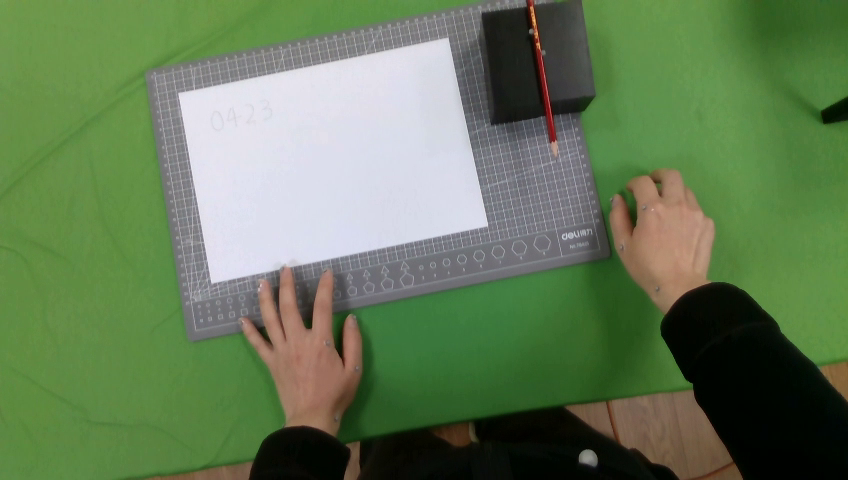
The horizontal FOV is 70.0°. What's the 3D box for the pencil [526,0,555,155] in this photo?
[{"bbox_3d":[0.113,-0.178,0.594,0.012,0.012,0.193,-8,85,1],"label":"pencil"}]
